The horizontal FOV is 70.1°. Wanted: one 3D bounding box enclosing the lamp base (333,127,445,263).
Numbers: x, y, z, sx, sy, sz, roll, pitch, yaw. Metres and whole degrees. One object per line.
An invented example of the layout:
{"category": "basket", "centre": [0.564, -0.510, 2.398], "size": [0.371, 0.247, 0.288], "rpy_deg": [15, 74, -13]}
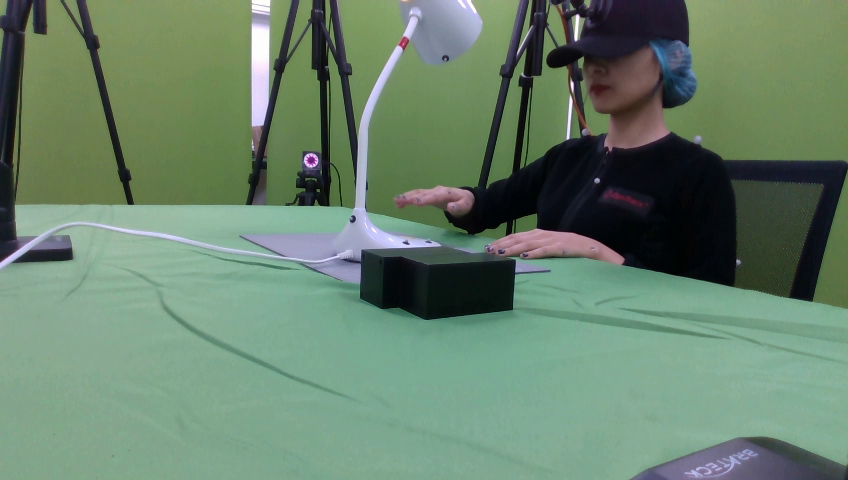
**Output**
{"category": "lamp base", "centre": [-0.054, -0.064, 0.842], "size": [0.160, 0.180, 0.180], "rpy_deg": [6, 11, 29]}

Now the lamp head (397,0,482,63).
{"category": "lamp head", "centre": [0.011, -0.341, 0.899], "size": [0.112, 0.112, 0.123], "rpy_deg": [7, -21, 37]}
